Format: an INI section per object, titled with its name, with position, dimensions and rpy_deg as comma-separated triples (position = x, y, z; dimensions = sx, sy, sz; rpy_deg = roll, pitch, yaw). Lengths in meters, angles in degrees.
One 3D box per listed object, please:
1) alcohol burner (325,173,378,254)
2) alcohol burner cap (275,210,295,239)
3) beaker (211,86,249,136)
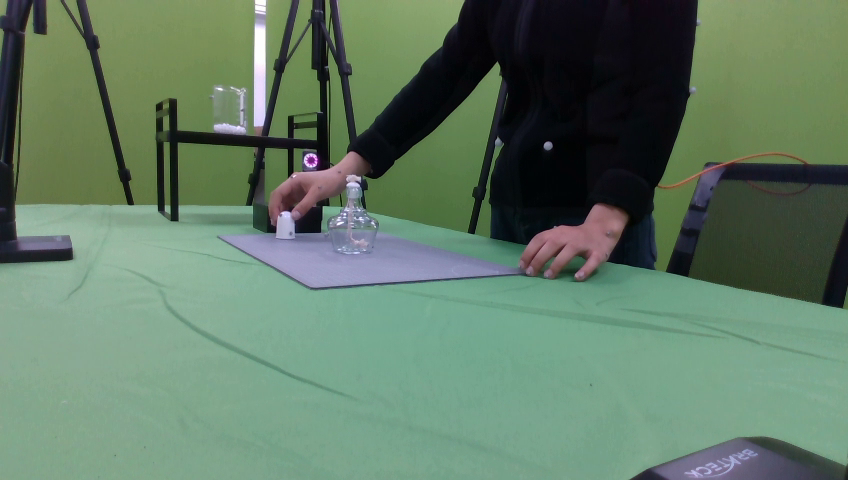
[alcohol burner]
position = -0.106, -0.040, 0.896
dimensions = 0.078, 0.119, 0.078
rpy_deg = 2, 5, 0
[alcohol burner cap]
position = -0.231, -0.026, 1.011
dimensions = 0.034, 0.048, 0.034
rpy_deg = 3, 7, 0
[beaker]
position = -0.413, -0.274, 1.297
dimensions = 0.074, 0.100, 0.083
rpy_deg = -5, 11, -44
